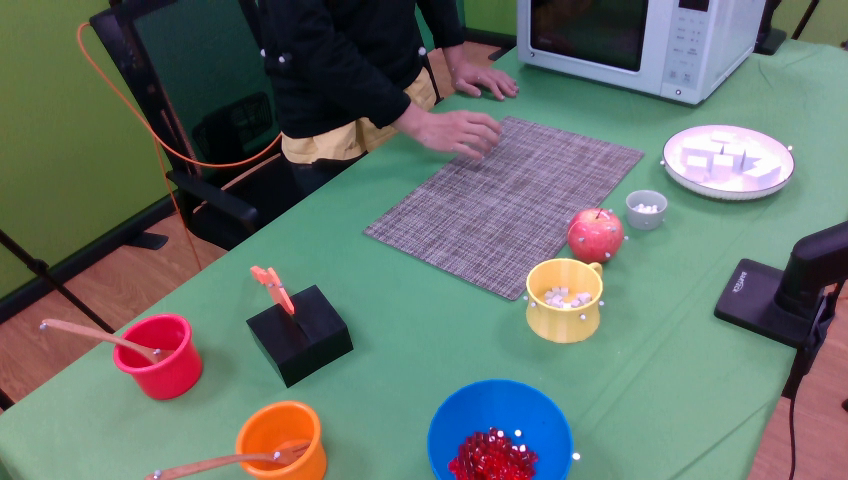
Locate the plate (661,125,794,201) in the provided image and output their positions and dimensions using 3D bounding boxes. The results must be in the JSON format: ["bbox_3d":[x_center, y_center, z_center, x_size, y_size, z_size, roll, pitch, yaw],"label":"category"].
[{"bbox_3d":[0.513,-0.128,1.035,0.207,0.039,0.206,-4,40,4],"label":"plate"}]

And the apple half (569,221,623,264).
[{"bbox_3d":[0.251,0.010,0.884,0.081,0.081,0.032,3,37,12],"label":"apple half"}]

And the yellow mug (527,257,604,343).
[{"bbox_3d":[0.201,0.072,0.825,0.131,0.064,0.099,-32,46,-27],"label":"yellow mug"}]

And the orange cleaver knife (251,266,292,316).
[{"bbox_3d":[-0.221,0.071,0.873,0.012,0.077,0.210,-25,11,-21],"label":"orange cleaver knife"}]

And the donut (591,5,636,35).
[{"bbox_3d":[0.427,-0.498,1.365,0.099,0.048,0.098,-4,39,4],"label":"donut"}]

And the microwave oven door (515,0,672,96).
[{"bbox_3d":[0.343,-0.454,1.259,0.353,0.245,0.039,26,51,33],"label":"microwave oven door"}]

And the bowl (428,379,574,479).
[{"bbox_3d":[0.082,0.233,0.644,0.151,0.077,0.150,-4,39,4],"label":"bowl"}]

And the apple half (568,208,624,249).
[{"bbox_3d":[0.259,-0.014,0.914,0.080,0.075,0.053,0,36,15],"label":"apple half"}]

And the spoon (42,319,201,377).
[{"bbox_3d":[-0.385,0.135,0.779,0.195,0.021,0.041,29,36,-26],"label":"spoon"}]

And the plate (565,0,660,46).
[{"bbox_3d":[0.427,-0.490,1.376,0.209,0.038,0.208,-5,41,5],"label":"plate"}]

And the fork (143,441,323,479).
[{"bbox_3d":[-0.189,0.231,0.631,0.028,0.018,0.209,36,13,37],"label":"fork"}]

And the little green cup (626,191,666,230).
[{"bbox_3d":[0.352,-0.046,0.963,0.061,0.039,0.061,-4,40,4],"label":"little green cup"}]

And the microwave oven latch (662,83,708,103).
[{"bbox_3d":[0.517,-0.296,1.204,0.078,0.029,0.030,27,52,35],"label":"microwave oven latch"}]

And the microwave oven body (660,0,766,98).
[{"bbox_3d":[0.472,-0.513,1.317,0.438,0.261,0.327,26,51,34],"label":"microwave oven body"}]
